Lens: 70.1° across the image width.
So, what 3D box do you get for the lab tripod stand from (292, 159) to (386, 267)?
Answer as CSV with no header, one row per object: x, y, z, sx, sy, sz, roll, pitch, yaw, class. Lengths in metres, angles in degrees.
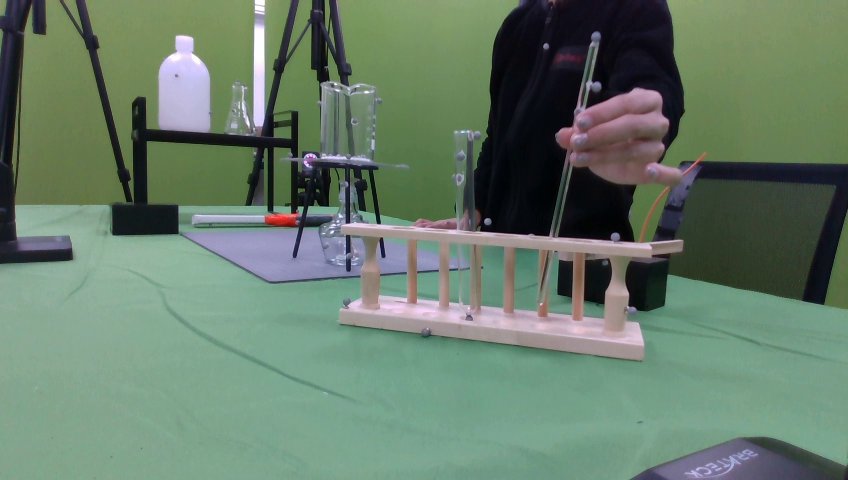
-0.105,-0.039,0.797,0.148,0.131,0.148,2,5,0,lab tripod stand

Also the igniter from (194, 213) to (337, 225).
-0.306,-0.042,1.196,0.278,0.025,0.057,-2,-2,-31,igniter

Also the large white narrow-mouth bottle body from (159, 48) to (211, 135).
-0.503,-0.322,1.275,0.102,0.194,0.102,2,7,0,large white narrow-mouth bottle body

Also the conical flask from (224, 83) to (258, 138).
-0.422,-0.299,1.395,0.075,0.122,0.075,2,7,0,conical flask

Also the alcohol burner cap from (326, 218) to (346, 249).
-0.133,-0.010,0.927,0.034,0.048,0.034,6,7,0,alcohol burner cap

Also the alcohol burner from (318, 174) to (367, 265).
-0.100,-0.028,0.790,0.078,0.119,0.078,0,6,0,alcohol burner

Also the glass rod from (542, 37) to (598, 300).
0.109,-0.048,0.452,0.008,0.199,0.008,7,15,-2,glass rod

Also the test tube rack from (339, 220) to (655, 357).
0.056,0.032,0.495,0.242,0.085,0.067,4,7,15,test tube rack

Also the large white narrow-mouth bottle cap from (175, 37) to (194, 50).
-0.501,-0.410,1.263,0.038,0.024,0.037,2,7,0,large white narrow-mouth bottle cap

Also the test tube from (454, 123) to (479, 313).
0.034,-0.016,0.477,0.017,0.150,0.017,-2,9,1,test tube

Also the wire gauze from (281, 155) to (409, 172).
-0.104,-0.102,0.784,0.126,0.011,0.121,1,8,-39,wire gauze

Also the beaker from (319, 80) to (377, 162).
-0.098,-0.150,0.777,0.074,0.100,0.084,1,7,-7,beaker

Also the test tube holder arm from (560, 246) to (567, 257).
0.173,0.007,0.611,0.088,0.015,0.010,-3,9,-30,test tube holder arm

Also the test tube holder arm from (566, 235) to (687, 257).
0.215,0.006,0.630,0.179,0.015,0.013,-3,9,-31,test tube holder arm
